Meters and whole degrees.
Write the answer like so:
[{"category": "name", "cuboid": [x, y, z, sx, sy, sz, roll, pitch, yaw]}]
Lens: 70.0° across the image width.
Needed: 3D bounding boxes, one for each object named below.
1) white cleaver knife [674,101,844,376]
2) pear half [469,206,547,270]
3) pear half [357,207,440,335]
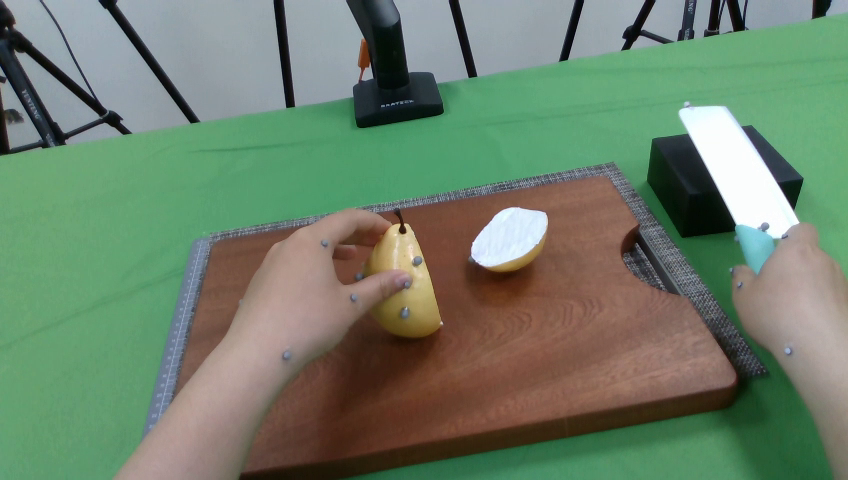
[{"category": "white cleaver knife", "cuboid": [0.277, -0.023, 0.500, 0.066, 0.022, 0.283, -3, 55, -3]}, {"category": "pear half", "cuboid": [0.075, 0.002, 0.520, 0.070, 0.031, 0.087, -16, 24, 15]}, {"category": "pear half", "cuboid": [-0.024, 0.023, 0.453, 0.056, 0.111, 0.075, -19, 37, -11]}]
